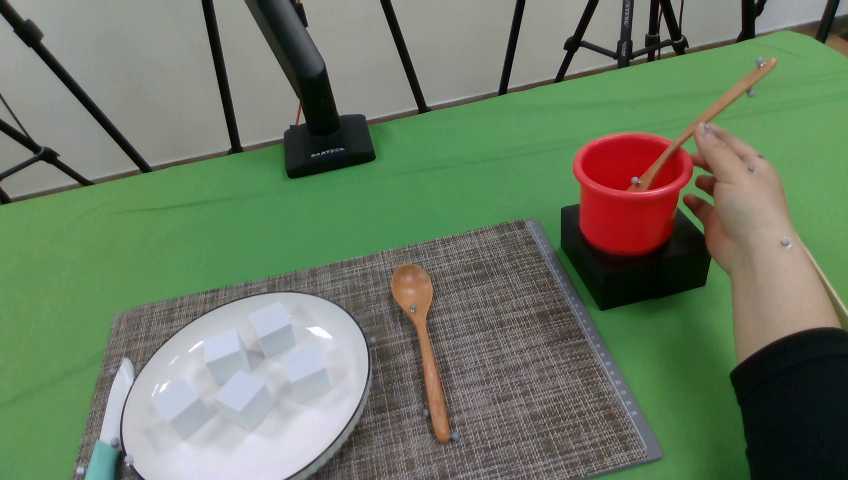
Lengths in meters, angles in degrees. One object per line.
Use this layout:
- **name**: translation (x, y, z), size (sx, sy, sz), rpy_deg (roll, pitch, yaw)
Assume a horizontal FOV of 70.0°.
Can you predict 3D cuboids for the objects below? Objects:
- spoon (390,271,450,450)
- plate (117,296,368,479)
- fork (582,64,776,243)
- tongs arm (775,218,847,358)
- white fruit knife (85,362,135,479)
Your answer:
- **spoon**: translation (-0.001, 0.098, 0.540), size (0.042, 0.022, 0.191), rpy_deg (2, 37, -13)
- **plate**: translation (-0.148, 0.134, 0.515), size (0.207, 0.039, 0.205), rpy_deg (-5, 40, 5)
- **fork**: translation (0.218, -0.072, 0.527), size (0.207, 0.019, 0.028), rpy_deg (-49, 28, 19)
- **tongs arm**: translation (0.353, 0.111, 0.452), size (0.028, 0.028, 0.383), rpy_deg (-4, 40, 3)
- **white fruit knife**: translation (-0.263, 0.179, 0.505), size (0.027, 0.016, 0.205), rpy_deg (10, 32, -22)
